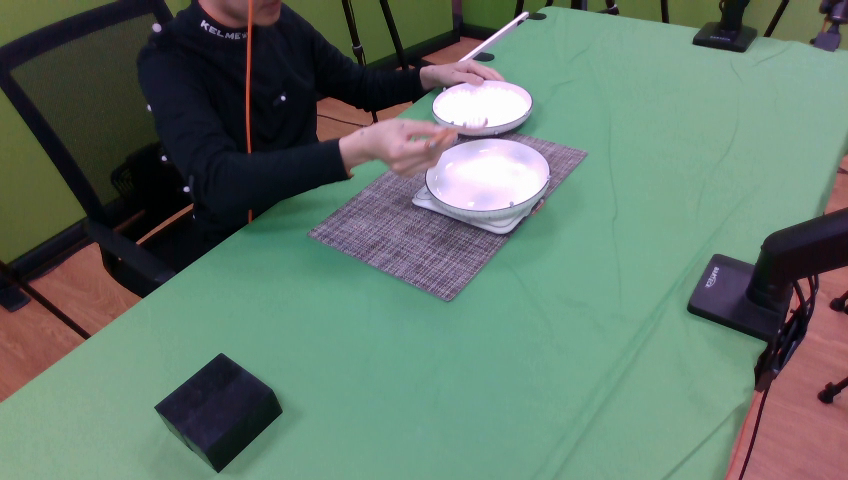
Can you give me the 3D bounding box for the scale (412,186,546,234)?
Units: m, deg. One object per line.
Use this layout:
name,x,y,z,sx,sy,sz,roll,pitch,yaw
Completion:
scale,0.093,-0.083,1.039,0.199,0.032,0.149,22,48,30

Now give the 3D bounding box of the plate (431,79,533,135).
plate,0.120,-0.271,1.249,0.209,0.038,0.208,-4,40,4

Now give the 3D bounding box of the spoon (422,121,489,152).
spoon,0.046,-0.159,0.919,0.041,0.021,0.195,9,20,29

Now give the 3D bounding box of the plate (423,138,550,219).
plate,0.104,-0.099,1.005,0.207,0.039,0.206,-4,41,4
